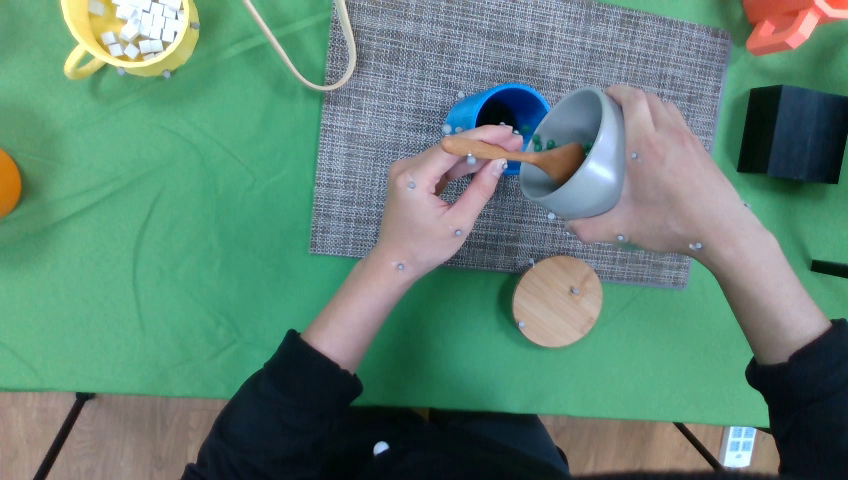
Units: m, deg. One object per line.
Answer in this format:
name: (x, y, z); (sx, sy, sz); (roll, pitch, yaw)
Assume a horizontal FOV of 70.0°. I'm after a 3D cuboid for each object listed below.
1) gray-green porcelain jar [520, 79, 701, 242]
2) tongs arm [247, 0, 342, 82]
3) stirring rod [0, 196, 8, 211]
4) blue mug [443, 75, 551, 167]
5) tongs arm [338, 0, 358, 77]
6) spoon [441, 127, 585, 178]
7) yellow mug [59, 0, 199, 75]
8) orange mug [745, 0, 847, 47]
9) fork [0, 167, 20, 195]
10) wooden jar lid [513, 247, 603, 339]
gray-green porcelain jar: (0.165, -0.063, 0.527); (0.127, 0.105, 0.106); (24, 93, -23)
tongs arm: (-0.192, -0.304, 0.526); (0.051, 0.026, 0.387); (-34, 112, -9)
stirring rod: (-0.427, -0.047, 0.480); (0.006, 0.177, 0.014); (4, 82, 30)
blue mug: (0.084, -0.106, 0.603); (0.117, 0.105, 0.082); (32, 91, -16)
tongs arm: (-0.119, -0.343, 0.539); (0.028, 0.027, 0.390); (-22, 110, -17)
spoon: (0.077, -0.071, 0.476); (0.195, 0.021, 0.042); (-1, 111, -44)
yellow mug: (-0.266, -0.193, 0.533); (0.131, 0.063, 0.100); (-45, 106, -1)
orange mug: (0.408, -0.271, 0.656); (0.084, 0.100, 0.126); (29, 88, -15)
fork: (-0.432, -0.065, 0.473); (0.209, 0.018, 0.028); (14, 97, -58)
wooden jar lid: (0.151, 0.059, 0.692); (0.108, 0.020, 0.109); (-2, 103, -10)
